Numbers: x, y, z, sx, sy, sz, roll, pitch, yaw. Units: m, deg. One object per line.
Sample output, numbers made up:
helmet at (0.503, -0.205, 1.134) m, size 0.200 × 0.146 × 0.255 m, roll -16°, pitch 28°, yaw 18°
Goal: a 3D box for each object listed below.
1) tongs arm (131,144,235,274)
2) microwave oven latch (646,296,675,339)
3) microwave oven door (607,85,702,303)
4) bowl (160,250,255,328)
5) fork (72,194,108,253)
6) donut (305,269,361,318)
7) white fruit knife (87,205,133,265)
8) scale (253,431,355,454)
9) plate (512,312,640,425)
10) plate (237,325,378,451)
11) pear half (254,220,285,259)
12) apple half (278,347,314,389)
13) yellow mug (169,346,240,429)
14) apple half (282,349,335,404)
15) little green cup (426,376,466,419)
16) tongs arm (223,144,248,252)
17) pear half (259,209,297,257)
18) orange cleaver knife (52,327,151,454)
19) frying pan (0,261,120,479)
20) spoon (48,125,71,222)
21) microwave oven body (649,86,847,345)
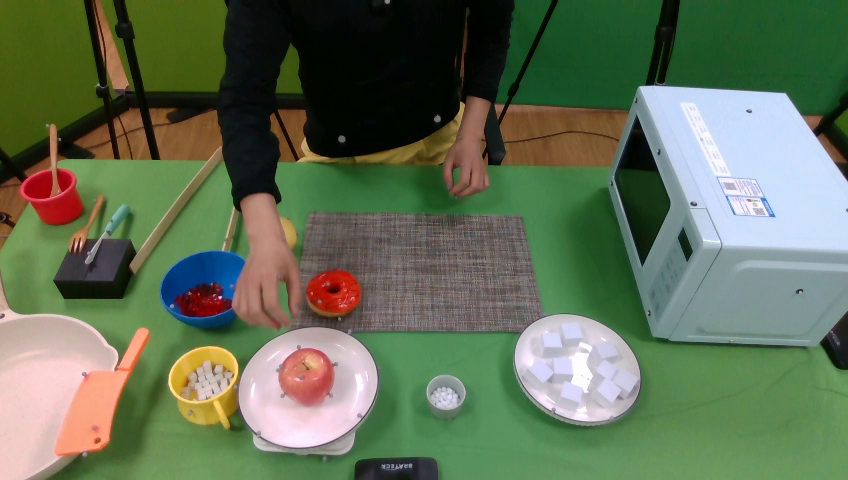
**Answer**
tongs arm at (-0.484, -0.077, 1.235) m, size 0.028 × 0.028 × 0.385 m, roll 6°, pitch 45°, yaw 13°
microwave oven latch at (0.412, 0.134, 1.061) m, size 0.030 × 0.029 × 0.078 m, roll 4°, pitch 45°, yaw 1°
microwave oven door at (0.423, -0.094, 1.140) m, size 0.039 × 0.245 × 0.353 m, roll 2°, pitch 46°, yaw -1°
bowl at (-0.362, 0.098, 1.040) m, size 0.151 × 0.077 × 0.150 m, roll 2°, pitch 45°, yaw -2°
fork at (-0.634, -0.036, 1.158) m, size 0.028 × 0.019 × 0.206 m, roll -7°, pitch 32°, yaw -9°
donut at (-0.160, 0.095, 1.075) m, size 0.099 × 0.048 × 0.098 m, roll 4°, pitch 45°, yaw -4°
white fruit knife at (-0.584, -0.013, 1.129) m, size 0.016 × 0.027 × 0.206 m, roll 0°, pitch 31°, yaw -5°
scale at (-0.175, 0.236, 0.951) m, size 0.149 × 0.032 × 0.199 m, roll 4°, pitch 45°, yaw 0°
plate at (0.246, 0.213, 0.999) m, size 0.208 × 0.039 × 0.206 m, roll 2°, pitch 46°, yaw -2°
plate at (-0.174, 0.224, 0.917) m, size 0.209 × 0.038 × 0.208 m, roll 2°, pitch 46°, yaw -2°
pear half at (-0.294, 0.003, 1.127) m, size 0.070 × 0.088 × 0.031 m, roll 25°, pitch 49°, yaw 16°
apple half at (-0.194, 0.192, 0.909) m, size 0.032 × 0.081 × 0.081 m, roll 32°, pitch 52°, yaw 22°
yellow mug at (-0.323, 0.230, 0.922) m, size 0.100 × 0.064 × 0.130 m, roll -24°, pitch 53°, yaw -25°
apple half at (-0.163, 0.210, 0.895) m, size 0.053 × 0.075 × 0.081 m, roll 33°, pitch 50°, yaw 22°
little green cup at (0.033, 0.248, 0.950) m, size 0.061 × 0.039 × 0.061 m, roll 2°, pitch 46°, yaw -2°
tongs arm at (-0.397, -0.072, 1.232) m, size 0.051 × 0.026 × 0.382 m, roll -2°, pitch 45°, yaw 0°
pear half at (-0.273, -0.024, 1.141) m, size 0.076 × 0.110 × 0.056 m, roll 27°, pitch 50°, yaw 16°
orange cleaver knife at (-0.462, 0.212, 0.879) m, size 0.077 × 0.012 × 0.210 m, roll 6°, pitch 45°, yaw -1°
frying pan at (-0.647, 0.164, 0.936) m, size 0.307 × 0.103 × 0.485 m, roll -19°, pitch 58°, yaw -22°
spoon at (-0.718, -0.131, 1.188) m, size 0.041 × 0.021 × 0.193 m, roll -3°, pitch 90°, yaw -7°
microwave oven body at (0.567, -0.053, 1.118) m, size 0.326 × 0.261 × 0.439 m, roll 2°, pitch 45°, yaw -1°
